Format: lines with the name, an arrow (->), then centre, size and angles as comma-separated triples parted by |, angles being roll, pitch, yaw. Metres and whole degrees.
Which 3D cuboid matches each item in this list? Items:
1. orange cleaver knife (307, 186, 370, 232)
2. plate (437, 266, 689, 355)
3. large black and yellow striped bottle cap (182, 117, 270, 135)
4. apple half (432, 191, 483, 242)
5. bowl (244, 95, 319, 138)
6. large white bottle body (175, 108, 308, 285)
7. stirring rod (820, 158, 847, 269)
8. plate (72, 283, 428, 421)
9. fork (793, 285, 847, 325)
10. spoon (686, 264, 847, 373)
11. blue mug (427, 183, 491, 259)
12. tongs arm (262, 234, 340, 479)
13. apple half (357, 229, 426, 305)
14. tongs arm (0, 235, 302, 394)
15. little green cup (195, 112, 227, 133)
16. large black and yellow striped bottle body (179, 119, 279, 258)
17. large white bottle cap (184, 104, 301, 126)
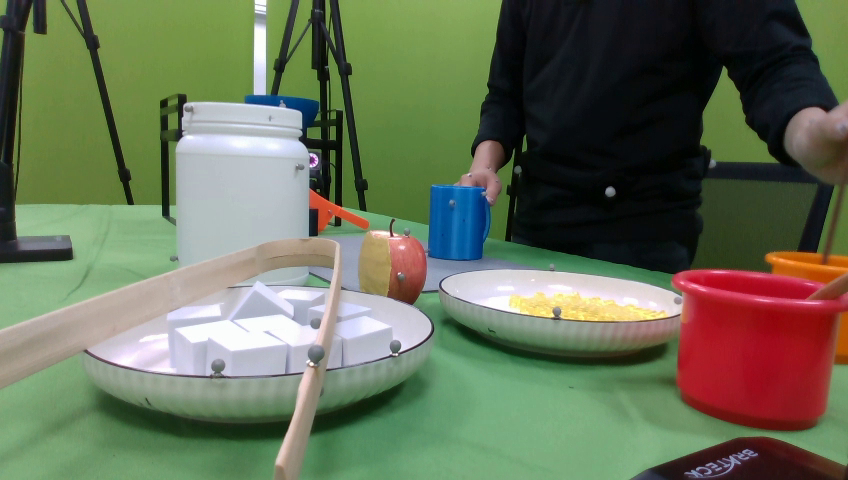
orange cleaver knife -> -0.197, -0.056, 1.141 | 0.212, 0.077, 0.012 | 29, 0, -34
plate -> 0.114, 0.057, 0.518 | 0.209, 0.038, 0.209 | 3, 7, 0
large black and yellow striped bottle cap -> -0.272, -0.156, 0.833 | 0.115, 0.019, 0.115 | 1, 7, 0
apple half -> 0.049, -0.037, 0.904 | 0.081, 0.081, 0.033 | 2, 14, 2
bowl -> -0.293, -0.251, 1.249 | 0.151, 0.077, 0.151 | 2, 7, 0
large white bottle body -> -0.188, -0.042, 0.630 | 0.131, 0.184, 0.130 | 2, 8, 0
stirring rod -> 0.346, -0.062, 0.491 | 0.006, 0.176, 0.014 | 13, 9, 27
plate -> -0.102, 0.066, 0.381 | 0.208, 0.039, 0.207 | 2, 7, 0
fork -> 0.331, 0.018, 0.442 | 0.028, 0.018, 0.207 | -2, -36, -15
spoon -> 0.214, 0.032, 0.328 | 0.042, 0.021, 0.193 | -3, -35, -26
blue mug -> 0.060, -0.031, 0.905 | 0.117, 0.106, 0.082 | -4, 10, -43
tongs arm -> -0.074, 0.039, 0.349 | 0.051, 0.026, 0.384 | -2, 10, -3
apple half -> -0.026, 0.028, 0.570 | 0.053, 0.074, 0.080 | 3, 2, -28
tongs arm -> -0.157, 0.038, 0.351 | 0.028, 0.028, 0.388 | -3, 8, 12
little green cup -> -0.412, -0.227, 1.171 | 0.061, 0.038, 0.061 | 3, 7, 0
large black and yellow striped bottle body -> -0.271, -0.074, 0.846 | 0.131, 0.184, 0.130 | 0, 9, 0
large white bottle cap -> -0.184, -0.126, 0.618 | 0.115, 0.018, 0.115 | 2, 8, 0
